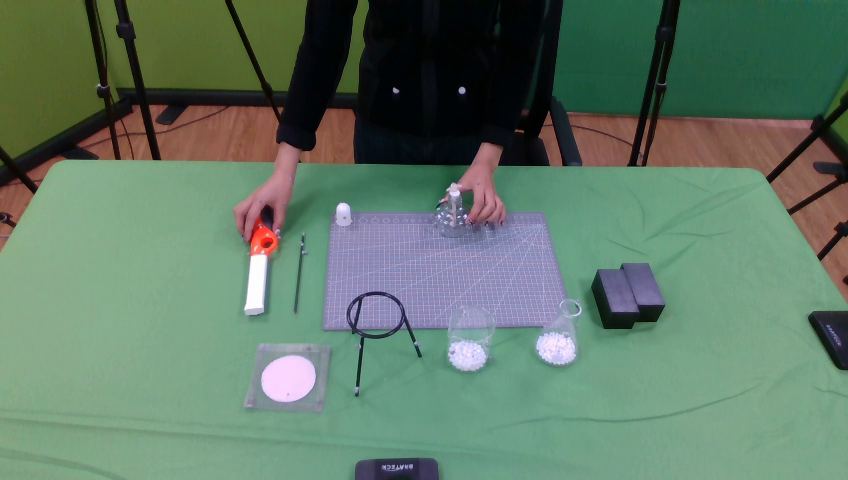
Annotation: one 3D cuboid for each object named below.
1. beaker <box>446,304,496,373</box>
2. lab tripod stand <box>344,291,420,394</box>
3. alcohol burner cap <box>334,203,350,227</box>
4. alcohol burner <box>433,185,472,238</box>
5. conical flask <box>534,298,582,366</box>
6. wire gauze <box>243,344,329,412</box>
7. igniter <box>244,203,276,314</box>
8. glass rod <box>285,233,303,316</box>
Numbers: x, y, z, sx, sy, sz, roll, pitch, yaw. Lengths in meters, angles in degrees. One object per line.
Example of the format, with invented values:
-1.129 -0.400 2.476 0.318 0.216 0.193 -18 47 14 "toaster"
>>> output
0.072 0.166 0.992 0.084 0.101 0.073 -21 51 -22 "beaker"
-0.075 0.155 0.967 0.148 0.132 0.147 3 44 -3 "lab tripod stand"
-0.166 -0.053 1.220 0.034 0.048 0.033 2 46 -2 "alcohol burner cap"
0.057 -0.062 1.197 0.078 0.120 0.077 1 47 -1 "alcohol burner"
0.229 0.149 1.005 0.075 0.122 0.075 2 46 -2 "conical flask"
-0.221 0.219 0.981 0.125 0.011 0.120 2 45 0 "wire gauze"
-0.311 0.025 1.145 0.057 0.025 0.274 -5 46 -3 "igniter"
-0.242 0.061 1.135 0.008 0.008 0.198 2 47 -2 "glass rod"
